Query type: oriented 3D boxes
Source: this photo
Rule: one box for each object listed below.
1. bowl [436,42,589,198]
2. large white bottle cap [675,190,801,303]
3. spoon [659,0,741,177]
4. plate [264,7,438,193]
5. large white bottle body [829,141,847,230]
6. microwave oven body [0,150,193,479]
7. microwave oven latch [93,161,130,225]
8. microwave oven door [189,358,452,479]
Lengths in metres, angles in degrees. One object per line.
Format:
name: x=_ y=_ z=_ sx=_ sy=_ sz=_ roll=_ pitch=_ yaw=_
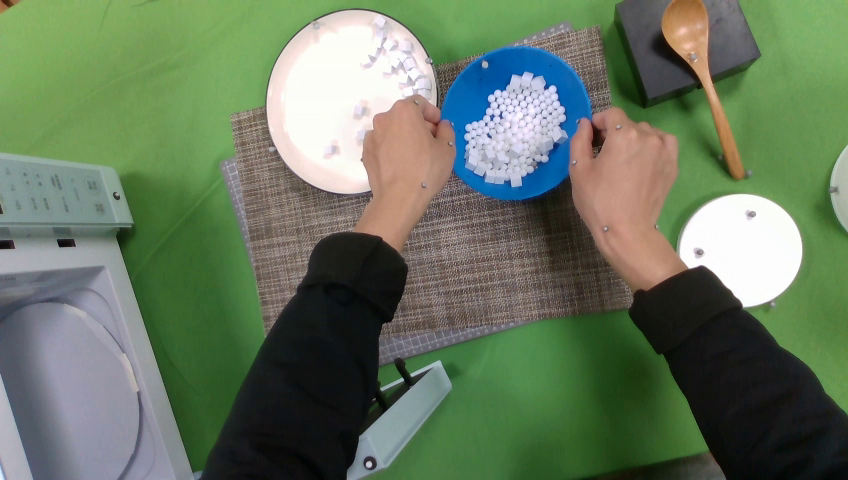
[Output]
bowl: x=0.094 y=-0.117 z=0.628 sx=0.151 sy=0.077 sz=0.151 roll=1 pitch=93 yaw=14
large white bottle cap: x=0.316 y=0.007 z=0.612 sx=0.114 sy=0.018 sz=0.115 roll=0 pitch=92 yaw=12
spoon: x=0.271 y=-0.142 z=0.580 sx=0.041 sy=0.021 sz=0.195 roll=-25 pitch=108 yaw=12
plate: x=-0.082 y=-0.156 z=0.693 sx=0.208 sy=0.038 sz=0.209 roll=0 pitch=91 yaw=15
large white bottle body: x=0.434 y=-0.052 z=0.493 sx=0.130 sy=0.185 sz=0.130 roll=0 pitch=92 yaw=15
microwave oven body: x=-0.502 y=0.160 z=0.700 sx=0.325 sy=0.260 sz=0.441 roll=-20 pitch=88 yaw=14
microwave oven latch: x=-0.401 y=-0.059 z=0.764 sx=0.030 sy=0.029 sz=0.079 roll=-19 pitch=88 yaw=14
microwave oven door: x=-0.156 y=0.233 z=0.611 sx=0.356 sy=0.244 sz=0.039 roll=-28 pitch=84 yaw=14
